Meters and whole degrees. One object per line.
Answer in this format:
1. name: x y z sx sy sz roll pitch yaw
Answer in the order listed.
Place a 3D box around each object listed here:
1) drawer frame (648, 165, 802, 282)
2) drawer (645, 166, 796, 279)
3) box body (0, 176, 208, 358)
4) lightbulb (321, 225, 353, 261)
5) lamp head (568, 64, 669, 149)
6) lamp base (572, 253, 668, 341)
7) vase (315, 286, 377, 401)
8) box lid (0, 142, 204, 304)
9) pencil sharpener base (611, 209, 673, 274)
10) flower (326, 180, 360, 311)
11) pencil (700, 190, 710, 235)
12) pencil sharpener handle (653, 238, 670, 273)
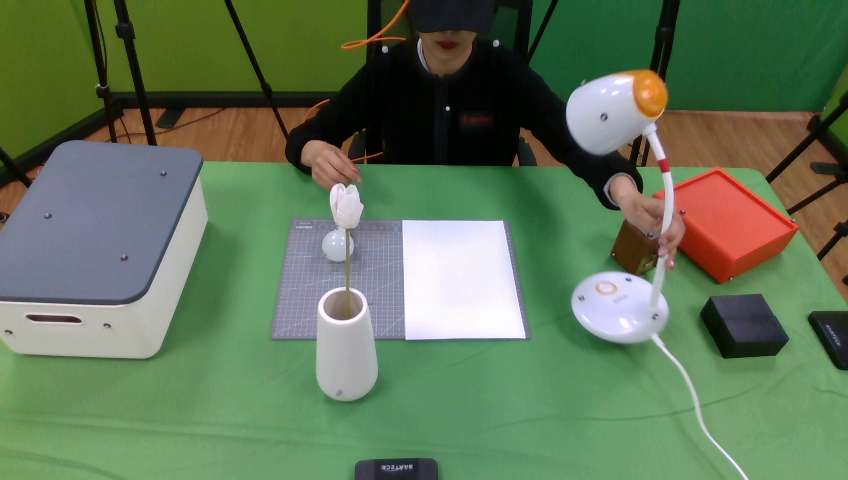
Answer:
1. drawer frame: 0.603 -0.040 1.233 0.202 0.083 0.212 -21 51 -23
2. drawer: 0.599 -0.040 1.236 0.195 0.073 0.210 -21 52 -23
3. box body: -0.546 0.017 1.045 0.254 0.161 0.361 2 46 -2
4. lightbulb: -0.163 -0.001 1.164 0.059 0.060 0.107 4 30 0
5. lamp head: 0.287 -0.195 0.868 0.112 0.112 0.122 -28 10 -27
6. lamp base: 0.340 0.058 0.992 0.160 0.181 0.178 -27 49 -22
7. vase: -0.119 0.159 0.911 0.098 0.201 0.097 2 47 -2
8. box lid: -0.534 -0.044 0.994 0.263 0.015 0.369 3 45 -3
9. pencil sharpener base: 0.416 0.007 1.158 0.061 0.107 0.076 -21 51 -23
10. flower: -0.110 0.086 0.867 0.044 0.363 0.038 23 34 36
11. pencil: 0.583 -0.058 1.256 0.012 0.012 0.193 16 35 12
12. pencil sharpener handle: 0.444 0.030 1.120 0.036 0.068 0.030 -25 52 -18
